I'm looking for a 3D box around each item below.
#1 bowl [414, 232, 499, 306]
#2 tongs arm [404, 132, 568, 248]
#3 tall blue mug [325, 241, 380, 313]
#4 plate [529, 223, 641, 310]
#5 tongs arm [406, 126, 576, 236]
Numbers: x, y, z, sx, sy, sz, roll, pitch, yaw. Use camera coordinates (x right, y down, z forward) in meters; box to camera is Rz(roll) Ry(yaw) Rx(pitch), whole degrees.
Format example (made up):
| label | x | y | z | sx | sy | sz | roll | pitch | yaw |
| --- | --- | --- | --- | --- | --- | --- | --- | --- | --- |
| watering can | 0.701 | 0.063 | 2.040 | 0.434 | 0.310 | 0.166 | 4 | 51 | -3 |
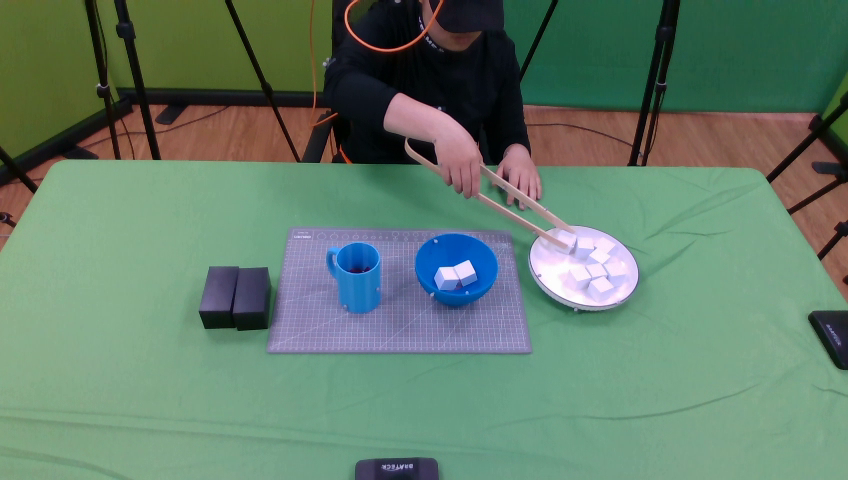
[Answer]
| label | x | y | z | sx | sy | sz | roll | pitch | yaw |
| --- | --- | --- | --- | --- | --- | --- | --- | --- | --- |
| bowl | 0.056 | 0.066 | 1.095 | 0.151 | 0.077 | 0.150 | 2 | 47 | -2 |
| tongs arm | 0.116 | -0.095 | 1.190 | 0.387 | 0.028 | 0.028 | 33 | 73 | 5 |
| tall blue mug | -0.130 | 0.063 | 1.062 | 0.107 | 0.108 | 0.077 | 9 | 47 | 5 |
| plate | 0.303 | 0.053 | 1.156 | 0.209 | 0.038 | 0.208 | 2 | 46 | -1 |
| tongs arm | 0.129 | -0.113 | 1.198 | 0.384 | 0.026 | 0.050 | 38 | 70 | 7 |
